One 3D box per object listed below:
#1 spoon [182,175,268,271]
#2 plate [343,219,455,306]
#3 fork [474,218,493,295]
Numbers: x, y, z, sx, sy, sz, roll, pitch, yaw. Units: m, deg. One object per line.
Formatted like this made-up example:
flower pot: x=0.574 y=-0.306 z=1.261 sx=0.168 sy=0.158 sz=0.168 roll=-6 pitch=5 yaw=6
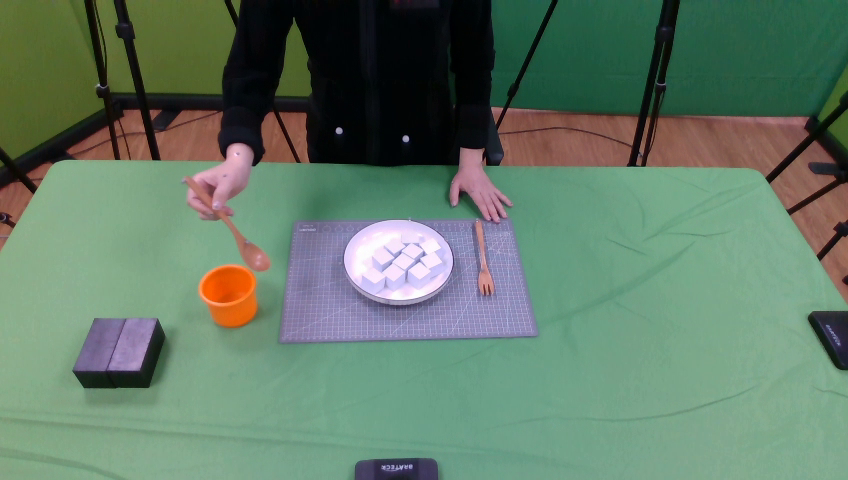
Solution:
spoon: x=-0.308 y=-0.025 z=0.947 sx=0.021 sy=0.195 sz=0.041 roll=-9 pitch=36 yaw=32
plate: x=-0.047 y=0.045 z=1.136 sx=0.208 sy=0.039 sz=0.206 roll=2 pitch=46 yaw=-2
fork: x=0.112 y=0.029 z=1.177 sx=0.028 sy=0.019 sz=0.206 roll=-3 pitch=48 yaw=1
